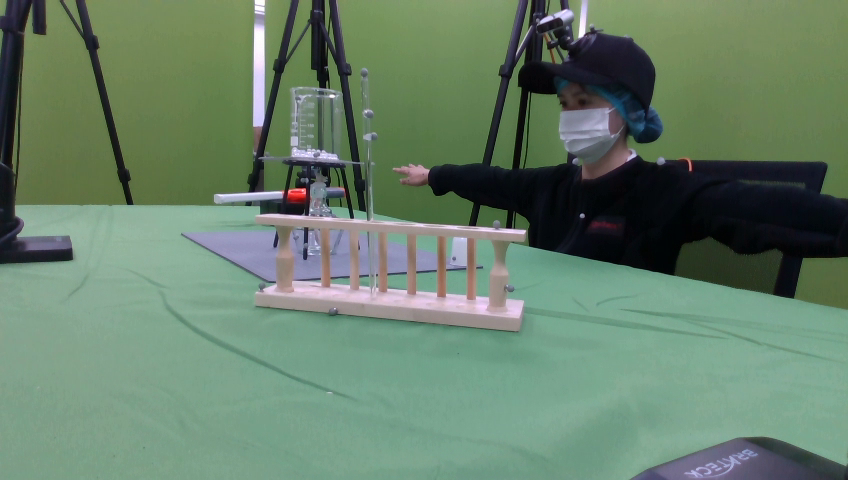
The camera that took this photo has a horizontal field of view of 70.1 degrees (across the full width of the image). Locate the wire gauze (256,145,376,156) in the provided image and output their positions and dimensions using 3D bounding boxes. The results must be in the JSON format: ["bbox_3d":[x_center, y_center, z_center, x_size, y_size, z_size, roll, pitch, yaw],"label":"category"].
[{"bbox_3d":[-0.155,-0.128,0.871,0.124,0.011,0.122,2,7,36],"label":"wire gauze"}]

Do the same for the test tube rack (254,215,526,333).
[{"bbox_3d":[-0.030,0.025,0.558,0.242,0.085,0.067,4,7,12],"label":"test tube rack"}]

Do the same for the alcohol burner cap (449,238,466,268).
[{"bbox_3d":[0.051,0.014,0.828,0.034,0.048,0.034,2,5,0],"label":"alcohol burner cap"}]

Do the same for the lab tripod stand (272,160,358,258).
[{"bbox_3d":[-0.159,-0.048,0.876,0.148,0.131,0.148,3,5,0],"label":"lab tripod stand"}]

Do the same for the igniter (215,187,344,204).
[{"bbox_3d":[-0.290,-0.093,1.256,0.278,0.025,0.057,-6,11,-35],"label":"igniter"}]

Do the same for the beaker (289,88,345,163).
[{"bbox_3d":[-0.157,-0.160,0.862,0.083,0.100,0.074,7,7,34],"label":"beaker"}]

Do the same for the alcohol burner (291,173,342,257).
[{"bbox_3d":[-0.155,-0.037,0.870,0.078,0.119,0.078,1,6,0],"label":"alcohol burner"}]

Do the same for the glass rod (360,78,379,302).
[{"bbox_3d":[-0.047,-0.038,0.526,0.008,0.199,0.008,-2,14,1],"label":"glass rod"}]
